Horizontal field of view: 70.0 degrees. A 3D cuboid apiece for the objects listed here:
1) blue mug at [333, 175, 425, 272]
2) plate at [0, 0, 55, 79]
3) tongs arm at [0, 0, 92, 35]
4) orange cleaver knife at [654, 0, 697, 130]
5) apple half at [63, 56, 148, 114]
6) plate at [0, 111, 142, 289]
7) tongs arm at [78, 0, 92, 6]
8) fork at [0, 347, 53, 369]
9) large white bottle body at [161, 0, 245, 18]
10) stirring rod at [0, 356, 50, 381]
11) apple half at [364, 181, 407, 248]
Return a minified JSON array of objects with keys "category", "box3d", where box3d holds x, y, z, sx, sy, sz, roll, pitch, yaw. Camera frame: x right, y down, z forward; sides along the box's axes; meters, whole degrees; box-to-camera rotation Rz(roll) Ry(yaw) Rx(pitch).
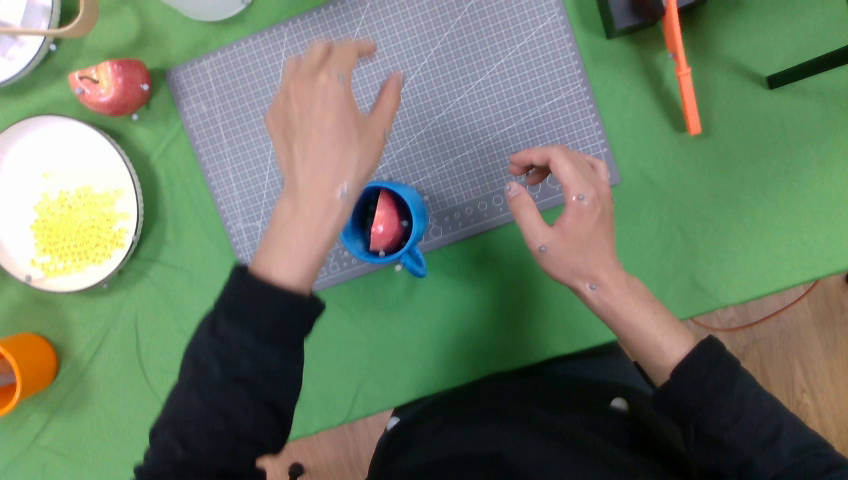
[{"category":"blue mug","box3d":[-0.036,-0.015,0.653,0.082,0.106,0.116,-35,93,8]},{"category":"plate","box3d":[-0.520,-0.285,0.699,0.207,0.039,0.208,1,97,5]},{"category":"tongs arm","box3d":[-0.556,-0.261,0.673,0.384,0.026,0.051,9,94,6]},{"category":"orange cleaver knife","box3d":[0.249,-0.214,0.617,0.012,0.076,0.213,-17,121,16]},{"category":"apple half","box3d":[-0.350,-0.169,0.681,0.081,0.074,0.053,-16,98,3]},{"category":"plate","box3d":[-0.432,-0.047,0.720,0.209,0.038,0.209,1,98,5]},{"category":"tongs arm","box3d":[-0.537,-0.342,0.663,0.387,0.028,0.028,23,92,4]},{"category":"fork","box3d":[-0.551,0.153,0.699,0.208,0.018,0.028,-7,97,-38]},{"category":"large white bottle body","box3d":[-0.254,-0.308,0.598,0.130,0.184,0.131,1,96,6]},{"category":"stirring rod","box3d":[-0.536,0.169,0.703,0.177,0.006,0.014,-15,84,-34]},{"category":"apple half","box3d":[-0.035,-0.025,0.646,0.032,0.081,0.081,12,98,12]}]
